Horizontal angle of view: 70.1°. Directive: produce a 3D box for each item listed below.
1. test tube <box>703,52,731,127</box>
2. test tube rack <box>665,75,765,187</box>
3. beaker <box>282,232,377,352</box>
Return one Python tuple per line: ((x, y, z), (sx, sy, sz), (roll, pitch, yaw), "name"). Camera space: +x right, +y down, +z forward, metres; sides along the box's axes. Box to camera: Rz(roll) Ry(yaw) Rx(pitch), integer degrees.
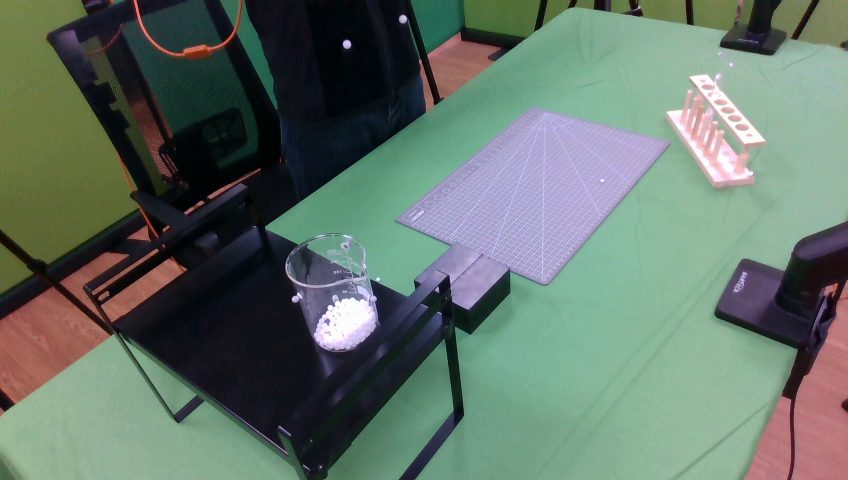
((0.521, -0.264, 1.078), (0.017, 0.151, 0.017), (-4, 47, 5), "test tube")
((0.512, -0.201, 1.082), (0.067, 0.085, 0.241), (-5, 41, 2), "test tube rack")
((-0.084, 0.054, 0.587), (0.083, 0.101, 0.074), (17, 47, 25), "beaker")
